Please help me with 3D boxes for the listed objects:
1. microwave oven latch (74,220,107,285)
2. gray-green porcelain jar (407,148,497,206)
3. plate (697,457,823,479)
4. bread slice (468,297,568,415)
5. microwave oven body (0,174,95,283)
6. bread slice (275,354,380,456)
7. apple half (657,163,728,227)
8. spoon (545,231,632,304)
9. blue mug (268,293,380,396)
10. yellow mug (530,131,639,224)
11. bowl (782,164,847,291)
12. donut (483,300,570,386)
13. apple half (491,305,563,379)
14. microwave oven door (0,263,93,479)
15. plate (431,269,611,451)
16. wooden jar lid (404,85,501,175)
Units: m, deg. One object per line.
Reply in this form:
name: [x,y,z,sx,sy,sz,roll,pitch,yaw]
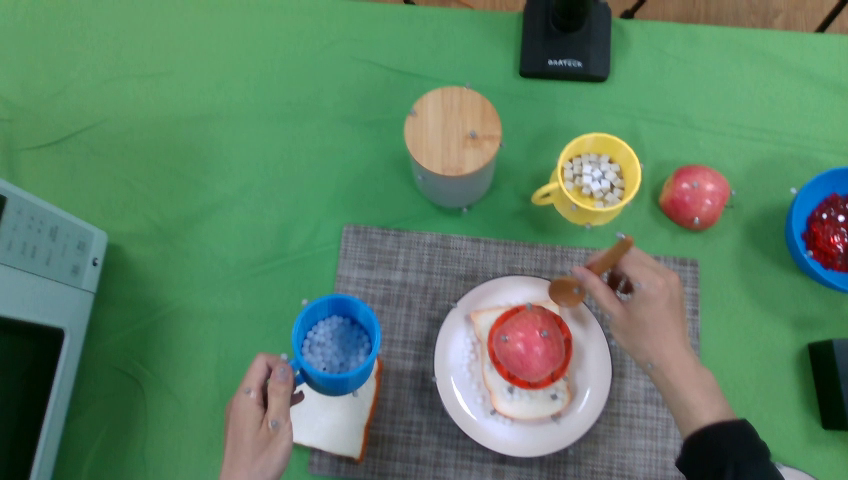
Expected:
microwave oven latch: [-0.419,0.014,0.749,0.030,0.029,0.079,10,77,4]
gray-green porcelain jar: [0.034,-0.105,0.737,0.106,0.127,0.105,0,76,2]
plate: [0.370,0.343,0.658,0.209,0.038,0.208,-1,76,2]
bread slice: [0.117,0.137,0.715,0.107,0.018,0.133,-11,77,-1]
microwave oven body: [-0.590,0.146,0.623,0.326,0.261,0.439,6,77,3]
bread slice: [-0.111,0.180,0.724,0.105,0.019,0.131,13,78,5]
apple half: [0.337,-0.062,0.753,0.074,0.053,0.080,27,79,11]
spoon: [0.165,0.032,0.612,0.041,0.194,0.021,34,72,5]
blue mug: [-0.102,0.116,0.604,0.116,0.106,0.082,-30,75,-19]
yellow mug: [0.194,-0.071,0.754,0.131,0.064,0.099,-18,75,-2]
bowl: [0.492,-0.007,0.720,0.151,0.077,0.150,-1,76,3]
donut: [0.117,0.117,0.692,0.099,0.048,0.098,-1,76,3]
apple half: [0.114,0.110,0.657,0.081,0.033,0.081,-2,76,9]
microwave oven door: [-0.452,0.200,0.599,0.039,0.245,0.354,6,76,4]
plate: [0.112,0.139,0.715,0.207,0.039,0.206,0,76,2]
wooden jar lid: [0.032,-0.121,0.677,0.108,0.021,0.108,-1,74,2]
